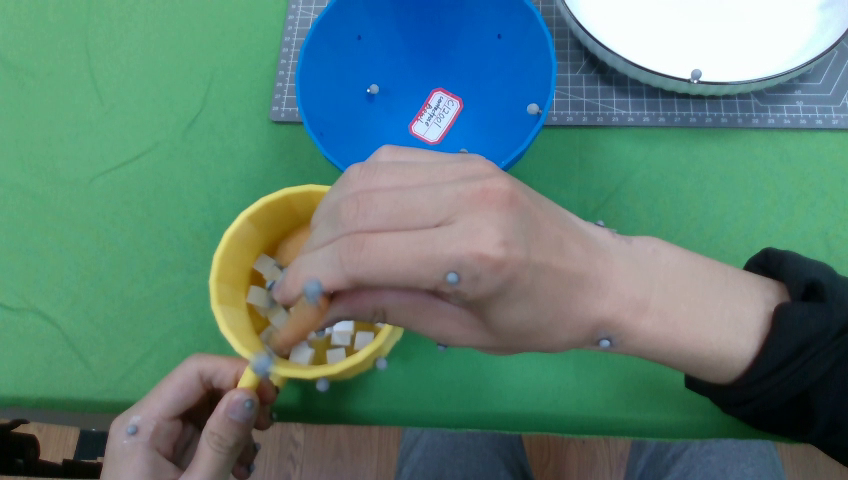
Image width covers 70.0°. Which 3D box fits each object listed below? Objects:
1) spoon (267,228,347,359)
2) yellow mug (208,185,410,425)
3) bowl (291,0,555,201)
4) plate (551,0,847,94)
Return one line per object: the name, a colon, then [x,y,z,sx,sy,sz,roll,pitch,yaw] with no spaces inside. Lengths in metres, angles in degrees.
spoon: [-0.047,0.017,0.253,0.041,0.192,0.022,-30,103,-4]
yellow mug: [-0.065,0.040,0.330,0.100,0.064,0.130,27,78,5]
bowl: [0.002,-0.085,0.379,0.151,0.077,0.150,-1,74,5]
plate: [0.186,-0.187,0.421,0.209,0.038,0.207,-1,70,4]
